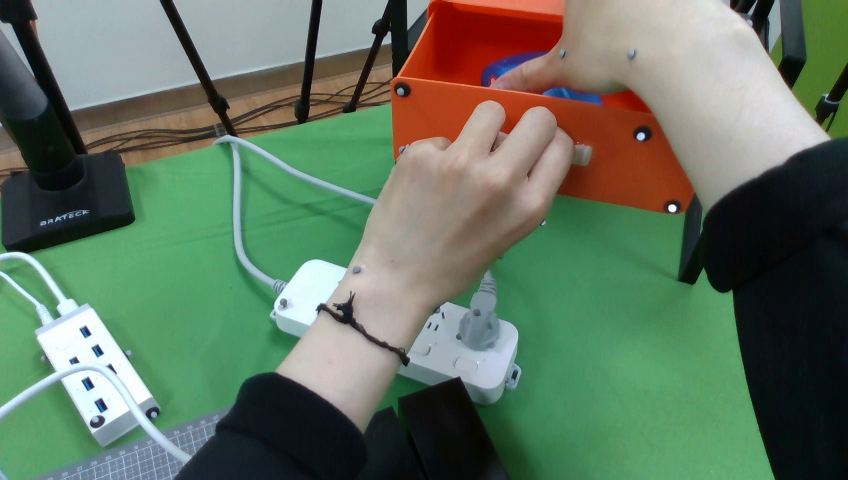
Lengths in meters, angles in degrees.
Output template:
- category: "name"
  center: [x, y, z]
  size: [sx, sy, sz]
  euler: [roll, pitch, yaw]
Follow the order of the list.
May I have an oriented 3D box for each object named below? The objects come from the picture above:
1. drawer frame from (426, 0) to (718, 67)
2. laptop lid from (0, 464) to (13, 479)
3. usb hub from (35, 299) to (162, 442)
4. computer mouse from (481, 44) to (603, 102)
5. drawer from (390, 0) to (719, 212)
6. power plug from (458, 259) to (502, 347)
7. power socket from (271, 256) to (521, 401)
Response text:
- category: "drawer frame"
  center: [0.120, -0.202, 0.508]
  size: [0.201, 0.083, 0.212]
  euler: [9, 47, 7]
- category: "laptop lid"
  center: [-0.418, 0.156, 0.284]
  size: [0.357, 0.244, 0.013]
  euler: [-21, 38, -18]
- category: "usb hub"
  center: [-0.268, 0.103, 0.495]
  size: [0.049, 0.025, 0.124]
  euler: [-33, 56, -28]
- category: "computer mouse"
  center: [0.089, -0.102, 0.434]
  size: [0.063, 0.041, 0.116]
  euler: [-14, 56, -16]
- category: "drawer"
  center: [0.097, -0.129, 0.442]
  size: [0.194, 0.074, 0.210]
  euler: [11, 48, 9]
- category: "power plug"
  center: [0.057, 0.060, 0.511]
  size: [0.035, 0.053, 0.072]
  euler: [26, 53, 23]
- category: "power socket"
  center: [-0.025, 0.073, 0.526]
  size: [0.226, 0.033, 0.072]
  euler: [17, 48, 15]
